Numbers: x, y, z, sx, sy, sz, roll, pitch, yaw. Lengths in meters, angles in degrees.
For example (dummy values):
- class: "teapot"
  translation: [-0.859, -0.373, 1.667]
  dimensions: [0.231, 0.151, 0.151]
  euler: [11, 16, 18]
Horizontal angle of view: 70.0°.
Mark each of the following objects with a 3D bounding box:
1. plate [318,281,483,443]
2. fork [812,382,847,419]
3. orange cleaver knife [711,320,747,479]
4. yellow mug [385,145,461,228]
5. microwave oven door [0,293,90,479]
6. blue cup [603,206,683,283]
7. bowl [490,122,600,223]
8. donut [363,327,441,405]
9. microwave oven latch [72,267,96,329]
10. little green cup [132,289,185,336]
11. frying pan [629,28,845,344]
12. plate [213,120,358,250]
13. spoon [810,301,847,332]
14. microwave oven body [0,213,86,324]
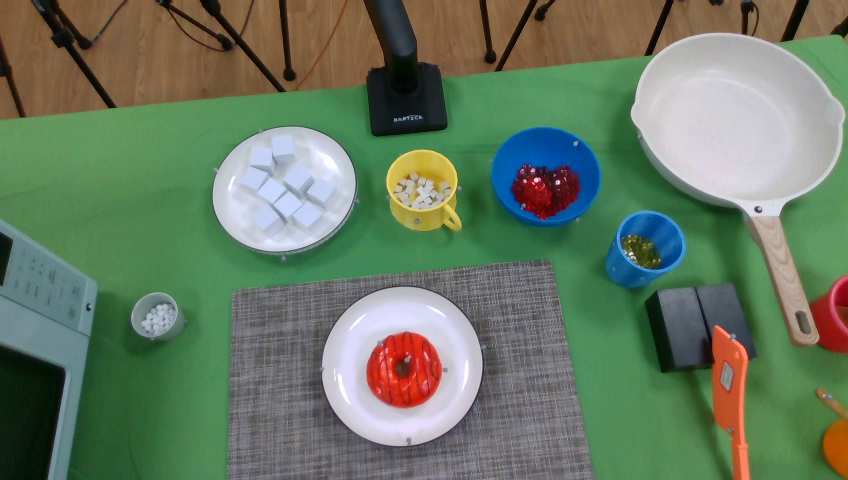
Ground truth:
- class: "plate"
  translation: [-0.030, 0.156, 0.784]
  dimensions: [0.209, 0.038, 0.207]
  euler: [0, 68, 1]
- class: "fork"
  translation: [0.492, 0.210, 0.697]
  dimensions: [0.209, 0.018, 0.028]
  euler: [38, 67, -31]
- class: "orange cleaver knife"
  translation: [0.371, 0.205, 0.738]
  dimensions: [0.012, 0.077, 0.211]
  euler: [-6, 97, -1]
- class: "yellow mug"
  translation: [0.007, -0.066, 0.863]
  dimensions: [0.100, 0.064, 0.130]
  euler: [-41, 74, -14]
- class: "microwave oven door"
  translation: [-0.455, 0.241, 0.631]
  dimensions: [0.039, 0.245, 0.353]
  euler: [-3, 68, 0]
- class: "blue cup"
  translation: [0.283, 0.014, 0.806]
  dimensions: [0.092, 0.101, 0.092]
  euler: [0, 69, 0]
- class: "bowl"
  translation: [0.166, -0.083, 0.861]
  dimensions: [0.151, 0.077, 0.150]
  euler: [0, 68, 1]
- class: "donut"
  translation: [-0.028, 0.160, 0.770]
  dimensions: [0.099, 0.048, 0.098]
  euler: [-1, 71, 2]
- class: "microwave oven latch"
  translation: [-0.460, 0.078, 0.807]
  dimensions: [0.030, 0.030, 0.078]
  euler: [-1, 69, 0]
- class: "little green cup"
  translation: [-0.354, 0.100, 0.815]
  dimensions: [0.061, 0.039, 0.061]
  euler: [0, 69, 1]
- class: "frying pan"
  translation: [0.450, -0.088, 0.844]
  dimensions: [0.307, 0.103, 0.483]
  euler: [-1, 60, 2]
- class: "plate"
  translation: [-0.199, -0.078, 0.886]
  dimensions: [0.208, 0.039, 0.206]
  euler: [0, 68, 1]
- class: "spoon"
  translation: [0.587, 0.086, 0.749]
  dimensions: [0.193, 0.022, 0.041]
  euler: [-17, 57, 42]
- class: "microwave oven body"
  translation: [-0.603, 0.210, 0.651]
  dimensions: [0.326, 0.262, 0.438]
  euler: [-2, 68, -1]
